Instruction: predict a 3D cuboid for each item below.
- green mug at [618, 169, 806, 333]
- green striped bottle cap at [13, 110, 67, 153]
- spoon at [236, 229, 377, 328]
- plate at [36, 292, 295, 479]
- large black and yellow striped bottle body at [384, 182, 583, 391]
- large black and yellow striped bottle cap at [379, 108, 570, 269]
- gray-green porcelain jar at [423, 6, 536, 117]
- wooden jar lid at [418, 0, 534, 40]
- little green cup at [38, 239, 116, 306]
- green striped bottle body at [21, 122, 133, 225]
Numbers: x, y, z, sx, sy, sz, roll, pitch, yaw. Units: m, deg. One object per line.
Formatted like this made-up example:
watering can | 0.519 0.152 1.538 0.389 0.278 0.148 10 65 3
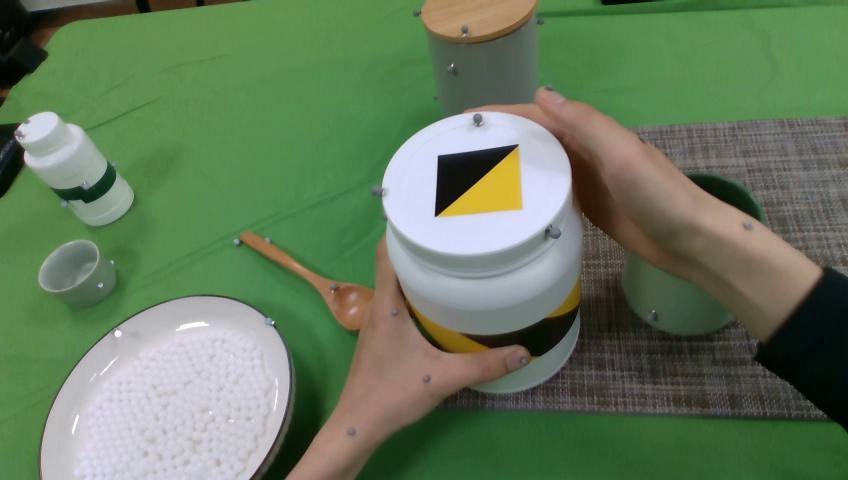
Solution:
green mug | 0.212 0.015 0.451 0.124 0.106 0.092 18 59 22
green striped bottle cap | -0.374 -0.106 0.590 0.044 0.020 0.044 -4 55 6
spoon | -0.116 0.027 0.566 0.192 0.022 0.041 29 80 28
plate | -0.202 0.140 0.493 0.209 0.038 0.207 -5 53 8
large black and yellow striped bottle body | 0.045 0.015 0.434 0.130 0.186 0.129 -6 54 8
large black and yellow striped bottle cap | 0.030 -0.035 0.367 0.115 0.019 0.114 -5 56 8
gray-green porcelain jar | 0.059 -0.174 0.609 0.106 0.128 0.105 -6 49 7
wooden jar lid | 0.049 -0.214 0.562 0.108 0.021 0.107 -8 51 10
little green cup | -0.340 0.034 0.598 0.061 0.039 0.061 -6 52 8
green striped bottle body | -0.365 -0.075 0.631 0.063 0.120 0.062 -6 53 8
